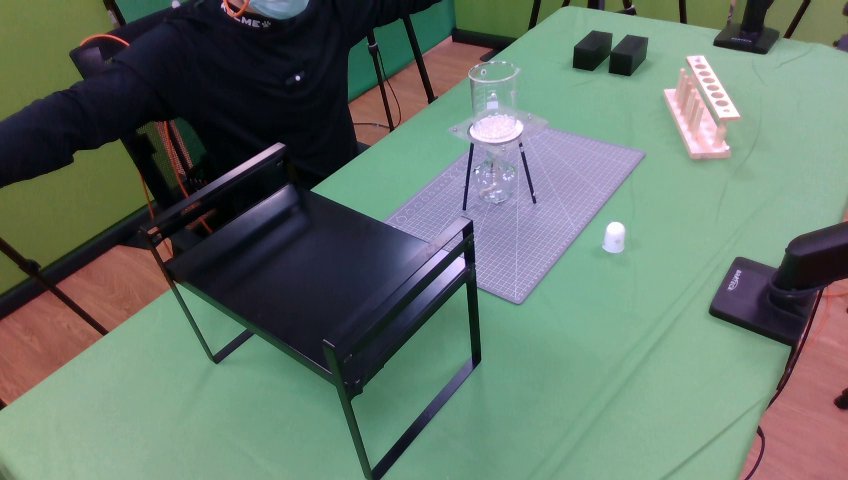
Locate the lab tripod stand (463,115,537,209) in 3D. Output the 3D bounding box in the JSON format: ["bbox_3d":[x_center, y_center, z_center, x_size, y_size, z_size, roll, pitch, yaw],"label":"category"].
[{"bbox_3d":[0.120,-0.134,1.018,0.148,0.132,0.147,-5,39,5],"label":"lab tripod stand"}]

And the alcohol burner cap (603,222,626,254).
[{"bbox_3d":[0.291,-0.006,0.921,0.034,0.048,0.033,-4,40,4],"label":"alcohol burner cap"}]

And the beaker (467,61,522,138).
[{"bbox_3d":[0.112,-0.217,0.941,0.084,0.101,0.073,-13,39,-7],"label":"beaker"}]

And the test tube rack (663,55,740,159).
[{"bbox_3d":[0.518,-0.256,1.144,0.066,0.085,0.241,-1,41,8],"label":"test tube rack"}]

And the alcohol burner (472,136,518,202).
[{"bbox_3d":[0.121,-0.125,1.023,0.078,0.119,0.077,-3,41,3],"label":"alcohol burner"}]

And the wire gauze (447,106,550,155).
[{"bbox_3d":[0.119,-0.182,0.974,0.122,0.011,0.124,-32,42,-29],"label":"wire gauze"}]
